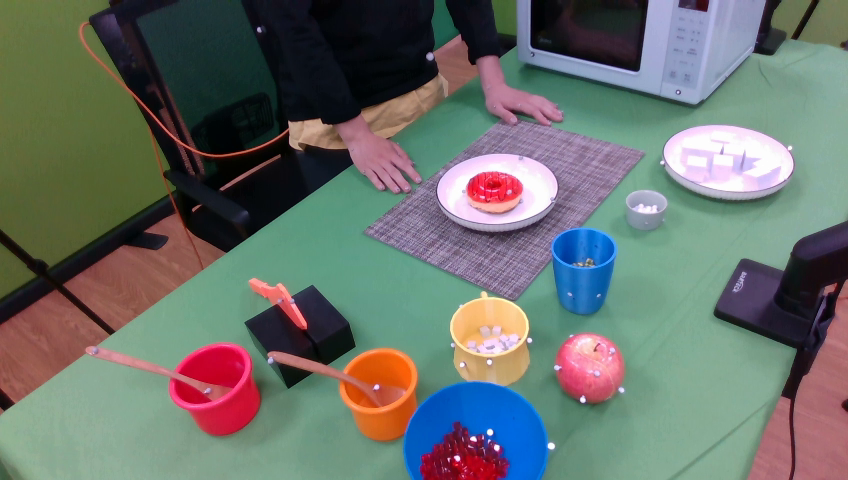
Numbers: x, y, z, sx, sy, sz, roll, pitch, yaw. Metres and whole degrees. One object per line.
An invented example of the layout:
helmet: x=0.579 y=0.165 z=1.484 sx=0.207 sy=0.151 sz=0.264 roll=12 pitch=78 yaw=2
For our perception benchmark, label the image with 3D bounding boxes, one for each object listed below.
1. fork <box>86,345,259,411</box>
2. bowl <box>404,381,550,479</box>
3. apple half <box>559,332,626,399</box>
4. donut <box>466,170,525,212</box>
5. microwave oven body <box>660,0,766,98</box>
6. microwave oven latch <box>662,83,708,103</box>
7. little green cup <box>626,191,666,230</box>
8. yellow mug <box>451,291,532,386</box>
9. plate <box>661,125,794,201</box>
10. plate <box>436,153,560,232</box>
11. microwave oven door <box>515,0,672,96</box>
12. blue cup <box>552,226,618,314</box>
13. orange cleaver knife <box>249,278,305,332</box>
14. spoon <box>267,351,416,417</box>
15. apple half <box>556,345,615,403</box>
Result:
fork: x=-0.298 y=0.167 z=0.728 sx=0.209 sy=0.018 sz=0.028 roll=28 pitch=47 yaw=-23
bowl: x=0.058 y=0.235 z=0.645 sx=0.151 sy=0.077 sz=0.150 roll=-4 pitch=39 yaw=4
apple half: x=0.209 y=0.147 z=0.730 sx=0.080 sy=0.075 sz=0.053 roll=26 pitch=48 yaw=38
donut: x=0.120 y=-0.083 z=1.019 sx=0.099 sy=0.048 sz=0.098 roll=-4 pitch=39 yaw=3
microwave oven body: x=0.472 y=-0.513 z=1.317 sx=0.438 sy=0.261 sz=0.327 roll=26 pitch=51 yaw=34
microwave oven latch: x=0.518 y=-0.296 z=1.204 sx=0.078 sy=0.029 sz=0.030 roll=27 pitch=52 yaw=35
little green cup: x=0.352 y=-0.046 z=0.963 sx=0.061 sy=0.039 sz=0.061 roll=-4 pitch=40 yaw=4
yellow mug: x=0.086 y=0.120 z=0.786 sx=0.100 sy=0.064 sz=0.130 roll=-7 pitch=39 yaw=2
plate: x=0.513 y=-0.128 z=1.035 sx=0.207 sy=0.039 sz=0.206 roll=-4 pitch=40 yaw=4
plate: x=0.125 y=-0.078 z=1.029 sx=0.209 sy=0.038 sz=0.208 roll=-4 pitch=40 yaw=4
microwave oven door: x=0.343 y=-0.454 z=1.259 sx=0.353 sy=0.245 sz=0.039 roll=26 pitch=51 yaw=33
blue cup: x=0.218 y=0.047 z=0.826 sx=0.092 sy=0.101 sz=0.092 roll=-6 pitch=40 yaw=5
orange cleaver knife: x=-0.210 y=0.089 z=0.855 sx=0.012 sy=0.077 sz=0.210 roll=-28 pitch=15 yaw=-25
spoon: x=-0.091 y=0.163 z=0.699 sx=0.021 sy=0.195 sz=0.041 roll=-44 pitch=30 yaw=27
apple half: x=0.181 y=0.166 z=0.709 sx=0.080 sy=0.081 sz=0.033 roll=29 pitch=50 yaw=35
